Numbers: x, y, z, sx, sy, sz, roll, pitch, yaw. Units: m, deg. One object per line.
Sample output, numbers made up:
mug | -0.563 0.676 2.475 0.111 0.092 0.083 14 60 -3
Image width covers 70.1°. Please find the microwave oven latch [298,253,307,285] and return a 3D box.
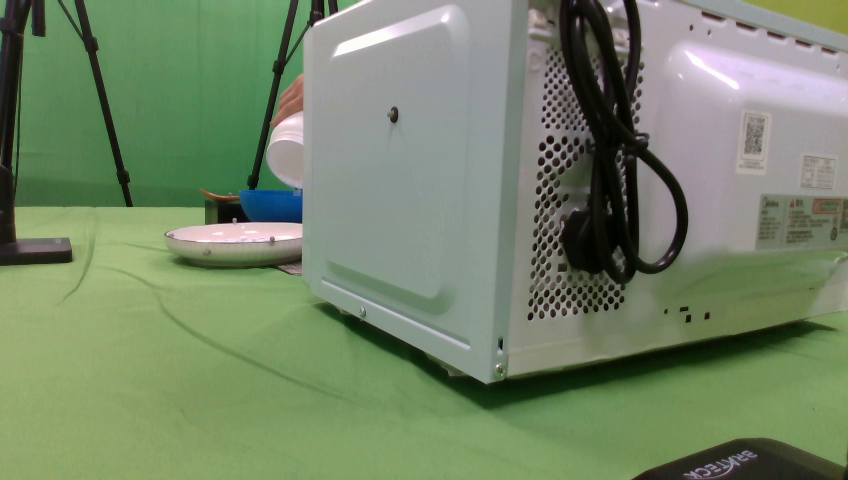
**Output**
microwave oven latch | -0.081 0.027 0.582 0.079 0.029 0.030 -1 7 -32

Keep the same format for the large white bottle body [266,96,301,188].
large white bottle body | -0.212 -0.194 1.149 0.130 0.131 0.184 5 43 15

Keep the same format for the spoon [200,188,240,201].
spoon | -0.338 -0.080 1.190 0.194 0.021 0.041 5 3 -19

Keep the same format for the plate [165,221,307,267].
plate | -0.241 0.004 0.829 0.209 0.038 0.209 0 9 0

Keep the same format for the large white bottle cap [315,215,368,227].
large white bottle cap | -0.177 -0.041 1.309 0.115 0.018 0.115 2 6 0

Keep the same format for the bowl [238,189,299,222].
bowl | -0.245 -0.046 1.052 0.151 0.077 0.151 2 8 0

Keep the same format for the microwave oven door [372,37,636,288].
microwave oven door | 0.110 -0.080 0.686 0.358 0.243 0.039 -2 9 -33

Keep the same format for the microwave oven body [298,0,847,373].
microwave oven body | 0.151 -0.055 0.542 0.444 0.260 0.324 -2 7 -33
